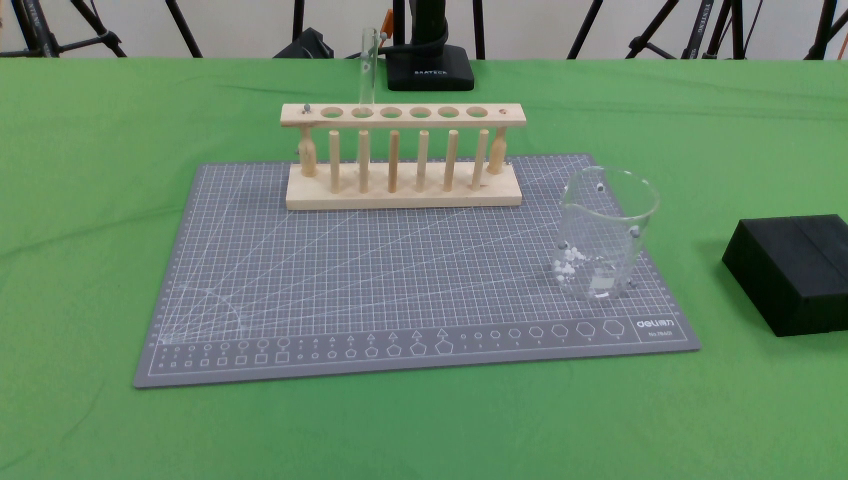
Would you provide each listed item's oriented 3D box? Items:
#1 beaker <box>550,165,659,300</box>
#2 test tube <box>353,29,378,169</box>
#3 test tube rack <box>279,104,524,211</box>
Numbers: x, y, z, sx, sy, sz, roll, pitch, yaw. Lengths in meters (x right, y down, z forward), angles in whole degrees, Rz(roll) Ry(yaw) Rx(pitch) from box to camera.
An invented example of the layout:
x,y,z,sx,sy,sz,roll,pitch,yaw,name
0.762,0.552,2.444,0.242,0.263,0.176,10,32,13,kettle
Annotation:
x,y,z,sx,sy,sz,roll,pitch,yaw,name
0.149,-0.003,0.528,0.084,0.101,0.073,-8,42,-11,beaker
-0.059,-0.133,0.599,0.017,0.151,0.017,6,40,-4,test tube
-0.022,-0.086,0.622,0.243,0.086,0.066,-2,41,-6,test tube rack
